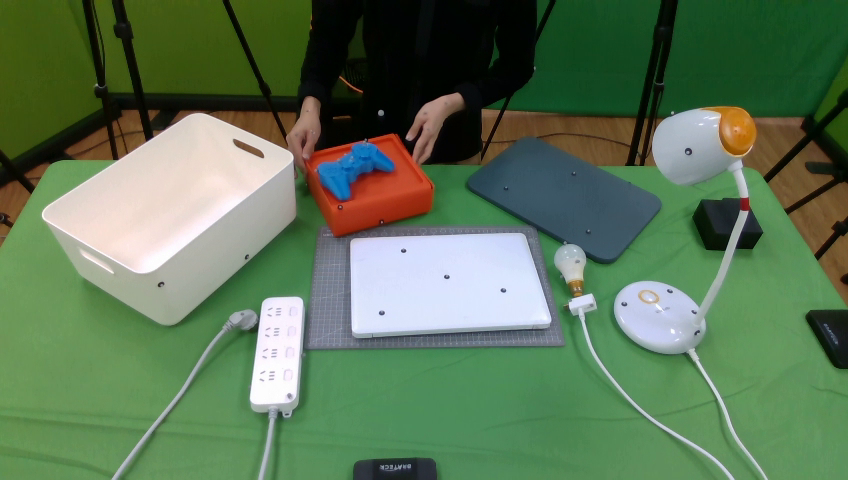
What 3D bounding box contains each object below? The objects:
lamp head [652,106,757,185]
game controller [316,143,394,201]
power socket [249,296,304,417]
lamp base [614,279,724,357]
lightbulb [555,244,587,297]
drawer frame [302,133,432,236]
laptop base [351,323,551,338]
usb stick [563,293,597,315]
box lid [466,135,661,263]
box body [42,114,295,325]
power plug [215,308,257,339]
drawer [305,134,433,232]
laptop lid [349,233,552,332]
[{"bbox_3d":[0.411,-0.139,0.869,0.113,0.122,0.112,0,89,-19],"label":"lamp head"},{"bbox_3d":[-0.142,-0.146,1.213,0.096,0.052,0.155,31,50,29],"label":"game controller"},{"bbox_3d":[-0.239,0.182,0.996,0.072,0.033,0.225,-2,47,-5],"label":"power socket"},{"bbox_3d":[0.436,0.090,1.035,0.161,0.181,0.178,-23,55,-23],"label":"lamp base"},{"bbox_3d":[0.281,0.058,1.146,0.059,0.060,0.107,-2,62,-6],"label":"lightbulb"},{"bbox_3d":[-0.120,-0.120,1.261,0.214,0.083,0.200,-17,49,-20],"label":"drawer frame"},{"bbox_3d":[0.040,0.080,1.125,0.355,0.023,0.234,-2,43,-6],"label":"laptop base"},{"bbox_3d":[0.280,0.118,1.093,0.059,0.021,0.027,-18,35,25],"label":"usb stick"},{"bbox_3d":[0.306,-0.102,1.327,0.370,0.015,0.263,32,52,25],"label":"box lid"},{"bbox_3d":[-0.437,-0.046,1.110,0.253,0.161,0.363,24,49,19],"label":"box body"},{"bbox_3d":[-0.317,0.143,1.024,0.072,0.053,0.035,-32,58,-8],"label":"power plug"},{"bbox_3d":[-0.116,-0.123,1.264,0.212,0.073,0.193,-17,50,-20],"label":"drawer"},{"bbox_3d":[0.040,0.070,1.119,0.357,0.013,0.240,-1,44,-5],"label":"laptop lid"}]
